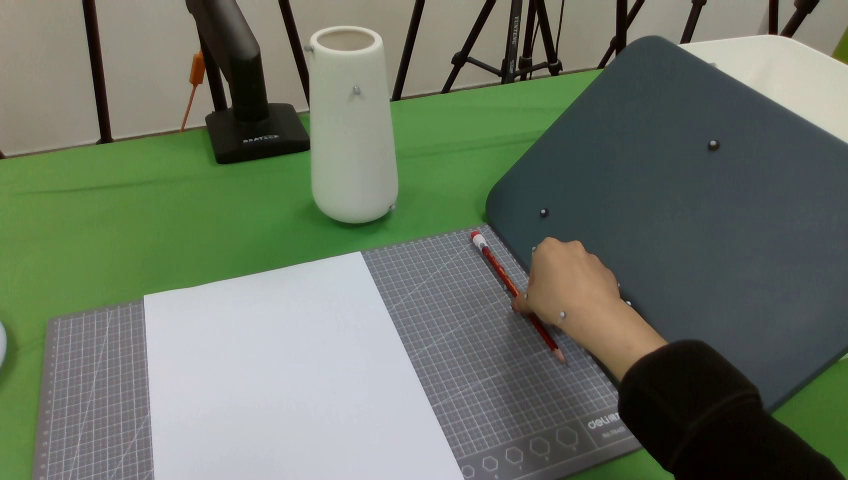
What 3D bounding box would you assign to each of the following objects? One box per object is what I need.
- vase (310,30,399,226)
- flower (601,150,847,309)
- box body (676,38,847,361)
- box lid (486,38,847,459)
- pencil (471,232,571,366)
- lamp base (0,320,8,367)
[{"bbox_3d":[-0.077,-0.114,0.645,0.098,0.202,0.097,1,39,0],"label":"vase"},{"bbox_3d":[0.348,-0.003,0.673,0.358,0.038,0.044,40,16,30],"label":"flower"},{"bbox_3d":[0.384,-0.062,0.638,0.255,0.162,0.359,-13,42,-17],"label":"box body"},{"bbox_3d":[0.221,-0.020,0.552,0.015,0.263,0.367,30,19,-42],"label":"box lid"},{"bbox_3d":[0.092,0.052,0.597,0.012,0.012,0.191,-14,43,-18],"label":"pencil"},{"bbox_3d":[-0.438,0.042,0.447,0.178,0.182,0.160,25,44,28],"label":"lamp base"}]
